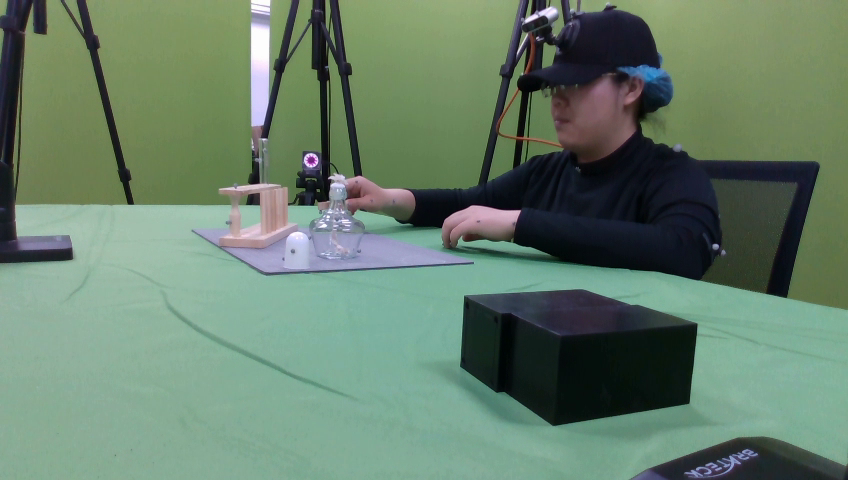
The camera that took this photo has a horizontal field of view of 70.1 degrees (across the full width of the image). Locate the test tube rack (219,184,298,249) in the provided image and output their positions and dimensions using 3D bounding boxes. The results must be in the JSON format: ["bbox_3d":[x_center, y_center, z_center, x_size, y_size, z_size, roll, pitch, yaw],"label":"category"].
[{"bbox_3d":[-0.266,-0.046,1.001,0.067,0.085,0.242,3,7,0],"label":"test tube rack"}]

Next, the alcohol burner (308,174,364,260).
[{"bbox_3d":[-0.121,-0.033,0.841,0.078,0.119,0.078,3,5,0],"label":"alcohol burner"}]

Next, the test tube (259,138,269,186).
[{"bbox_3d":[-0.281,-0.104,1.064,0.017,0.150,0.017,2,12,0],"label":"test tube"}]

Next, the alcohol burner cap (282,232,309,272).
[{"bbox_3d":[-0.157,0.014,0.740,0.034,0.048,0.034,2,6,0],"label":"alcohol burner cap"}]

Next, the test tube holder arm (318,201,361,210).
[{"bbox_3d":[-0.156,-0.066,1.141,0.013,0.015,0.179,9,7,14],"label":"test tube holder arm"}]

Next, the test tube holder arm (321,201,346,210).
[{"bbox_3d":[-0.163,-0.062,1.096,0.010,0.015,0.088,9,7,16],"label":"test tube holder arm"}]
